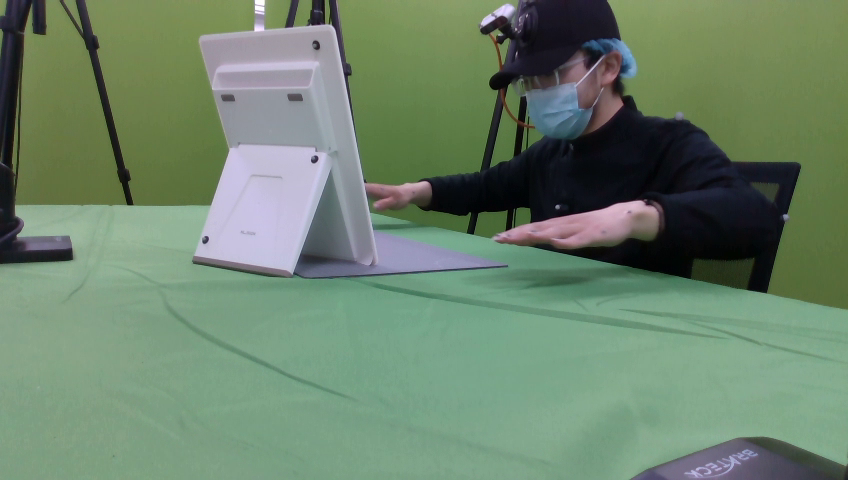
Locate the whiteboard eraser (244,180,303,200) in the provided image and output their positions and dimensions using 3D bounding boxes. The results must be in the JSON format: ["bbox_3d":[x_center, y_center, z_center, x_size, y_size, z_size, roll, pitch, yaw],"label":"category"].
[{"bbox_3d":[-0.318,-0.106,1.277,0.113,0.042,0.055,-6,15,-36],"label":"whiteboard eraser"}]

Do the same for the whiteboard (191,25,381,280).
[{"bbox_3d":[-0.205,-0.085,0.734,0.216,0.305,0.144,7,30,30],"label":"whiteboard"}]
